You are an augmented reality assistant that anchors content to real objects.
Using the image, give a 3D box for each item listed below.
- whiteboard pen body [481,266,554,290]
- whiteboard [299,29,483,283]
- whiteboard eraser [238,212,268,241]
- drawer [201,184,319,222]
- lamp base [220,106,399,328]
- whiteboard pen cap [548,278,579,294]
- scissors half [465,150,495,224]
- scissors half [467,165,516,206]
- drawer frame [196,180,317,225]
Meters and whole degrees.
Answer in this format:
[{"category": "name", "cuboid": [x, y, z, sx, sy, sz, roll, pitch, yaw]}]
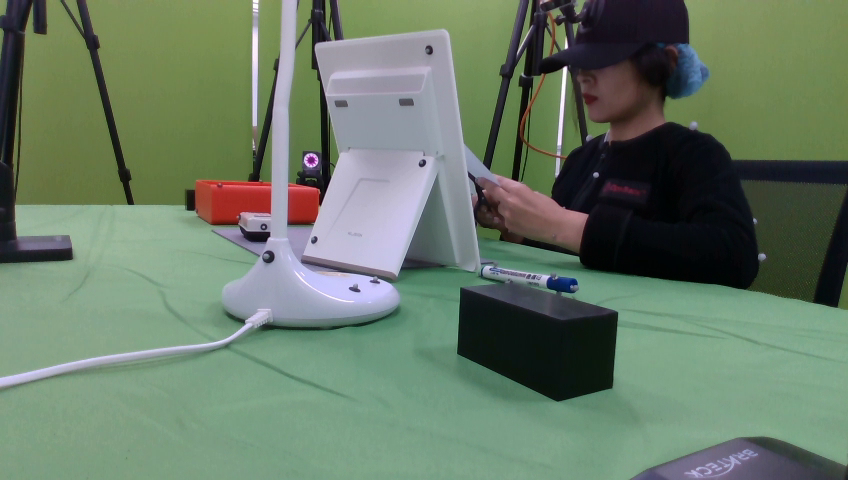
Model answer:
[{"category": "whiteboard pen body", "cuboid": [0.115, 0.044, 0.695, 0.017, 0.017, 0.140, -3, 5, -35]}, {"category": "whiteboard", "cuboid": [-0.074, -0.082, 0.742, 0.216, 0.305, 0.144, 9, 29, 38]}, {"category": "whiteboard eraser", "cuboid": [-0.272, -0.023, 0.998, 0.056, 0.042, 0.112, -2, 9, -24]}, {"category": "drawer", "cuboid": [-0.353, -0.082, 1.295, 0.213, 0.073, 0.193, -2, 9, -28]}, {"category": "lamp base", "cuboid": [-0.101, -0.023, 0.531, 0.160, 0.180, 0.179, 4, 10, 10]}, {"category": "whiteboard pen cap", "cuboid": [0.148, 0.049, 0.647, 0.018, 0.018, 0.033, -3, 3, -36]}, {"category": "scissors half", "cuboid": [0.097, -0.095, 1.115, 0.040, 0.175, 0.013, -31, 40, -11]}, {"category": "scissors half", "cuboid": [0.115, -0.110, 1.114, 0.176, 0.040, 0.012, 27, 16, -39]}, {"category": "drawer frame", "cuboid": [-0.359, -0.083, 1.292, 0.215, 0.082, 0.200, -2, 10, -30]}]
